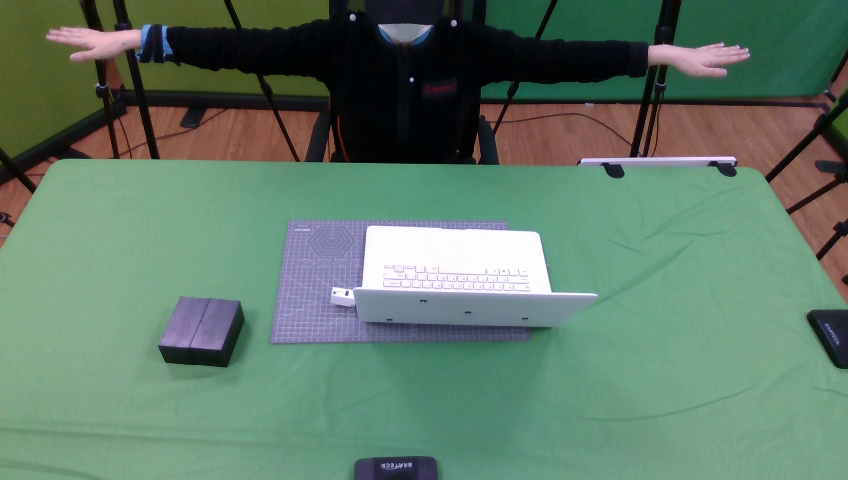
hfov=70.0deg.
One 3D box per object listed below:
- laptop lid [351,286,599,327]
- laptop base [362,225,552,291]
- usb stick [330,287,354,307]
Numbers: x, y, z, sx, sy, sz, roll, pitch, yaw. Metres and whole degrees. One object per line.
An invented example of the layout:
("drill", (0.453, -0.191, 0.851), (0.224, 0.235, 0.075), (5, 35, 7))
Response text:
("laptop lid", (0.068, 0.109, 0.952), (0.357, 0.242, 0.013), (2, 71, -4))
("laptop base", (0.061, 0.063, 1.145), (0.354, 0.023, 0.234), (2, 43, -3))
("usb stick", (-0.135, 0.101, 1.068), (0.059, 0.027, 0.021), (13, 43, -9))
